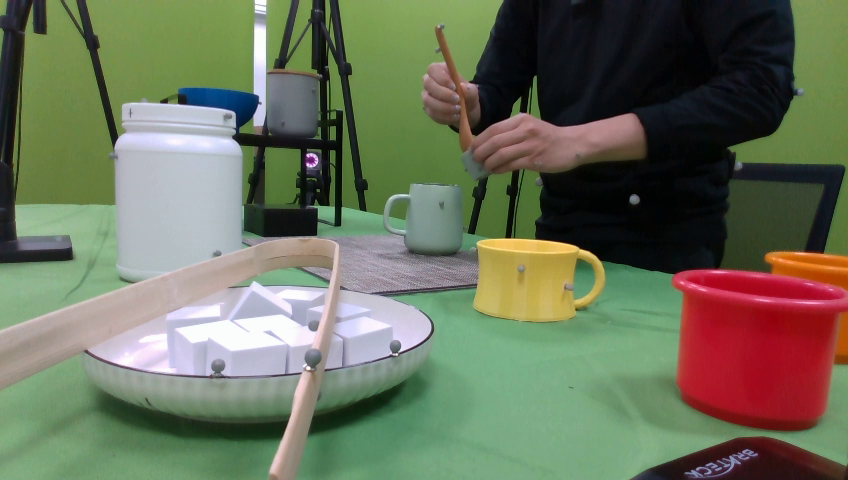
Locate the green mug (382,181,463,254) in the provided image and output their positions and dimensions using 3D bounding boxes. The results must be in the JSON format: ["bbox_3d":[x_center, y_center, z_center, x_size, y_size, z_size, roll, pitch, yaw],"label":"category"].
[{"bbox_3d":[-0.001,-0.036,0.922,0.126,0.105,0.092,0,8,-16],"label":"green mug"}]

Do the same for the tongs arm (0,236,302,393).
[{"bbox_3d":[-0.157,0.038,0.347,0.028,0.028,0.388,-3,8,11],"label":"tongs arm"}]

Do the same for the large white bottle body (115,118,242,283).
[{"bbox_3d":[-0.270,-0.051,0.673,0.131,0.184,0.130,2,8,0],"label":"large white bottle body"}]

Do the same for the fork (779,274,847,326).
[{"bbox_3d":[0.332,0.019,0.443,0.028,0.018,0.207,-3,-35,-16],"label":"fork"}]

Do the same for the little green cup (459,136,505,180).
[{"bbox_3d":[0.082,-0.110,0.828,0.061,0.038,0.061,-11,-18,-3],"label":"little green cup"}]

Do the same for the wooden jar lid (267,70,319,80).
[{"bbox_3d":[-0.275,-0.339,1.271,0.108,0.020,0.108,5,6,0],"label":"wooden jar lid"}]

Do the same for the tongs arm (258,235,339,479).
[{"bbox_3d":[-0.074,0.040,0.345,0.051,0.026,0.384,-1,10,-3],"label":"tongs arm"}]

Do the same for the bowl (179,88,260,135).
[{"bbox_3d":[-0.400,-0.248,1.188,0.151,0.077,0.151,2,6,0],"label":"bowl"}]

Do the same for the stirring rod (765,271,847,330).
[{"bbox_3d":[0.352,0.020,0.481,0.176,0.006,0.014,-40,-8,17],"label":"stirring rod"}]

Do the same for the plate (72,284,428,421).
[{"bbox_3d":[-0.102,0.067,0.381,0.208,0.039,0.207,3,7,0],"label":"plate"}]

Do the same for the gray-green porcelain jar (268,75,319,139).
[{"bbox_3d":[-0.277,-0.279,1.280,0.106,0.126,0.106,2,8,0],"label":"gray-green porcelain jar"}]

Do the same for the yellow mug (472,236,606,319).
[{"bbox_3d":[0.114,0.034,0.590,0.131,0.064,0.100,2,6,-7],"label":"yellow mug"}]

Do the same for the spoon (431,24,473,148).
[{"bbox_3d":[0.043,-0.191,0.806,0.022,0.194,0.041,-22,18,-19],"label":"spoon"}]

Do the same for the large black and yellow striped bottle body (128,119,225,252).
[{"bbox_3d":[-0.361,-0.081,0.887,0.131,0.184,0.130,2,8,0],"label":"large black and yellow striped bottle body"}]

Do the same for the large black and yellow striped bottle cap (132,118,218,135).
[{"bbox_3d":[-0.359,-0.164,0.875,0.115,0.019,0.115,2,6,0],"label":"large black and yellow striped bottle cap"}]

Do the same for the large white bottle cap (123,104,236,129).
[{"bbox_3d":[-0.266,-0.135,0.663,0.115,0.018,0.115,3,7,0],"label":"large white bottle cap"}]
